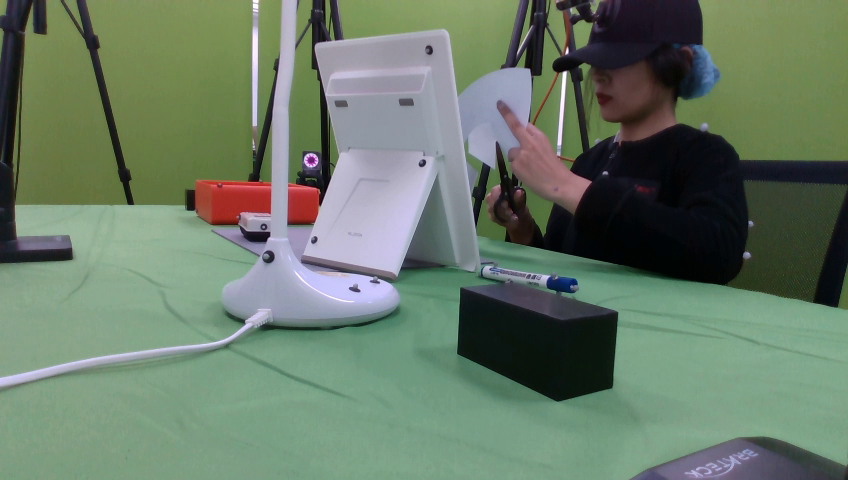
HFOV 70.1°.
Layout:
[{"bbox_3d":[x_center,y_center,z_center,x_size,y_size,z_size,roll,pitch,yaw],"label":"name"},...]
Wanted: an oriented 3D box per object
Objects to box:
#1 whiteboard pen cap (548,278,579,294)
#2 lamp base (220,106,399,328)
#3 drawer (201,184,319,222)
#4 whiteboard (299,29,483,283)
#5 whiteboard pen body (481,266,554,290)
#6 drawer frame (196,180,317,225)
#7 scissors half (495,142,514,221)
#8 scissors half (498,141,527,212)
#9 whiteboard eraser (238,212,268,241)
[{"bbox_3d":[0.148,0.049,0.647,0.018,0.018,0.033,-3,3,-35],"label":"whiteboard pen cap"},{"bbox_3d":[-0.101,-0.023,0.531,0.160,0.180,0.179,4,10,10],"label":"lamp base"},{"bbox_3d":[-0.353,-0.082,1.296,0.213,0.073,0.193,-2,10,-28],"label":"drawer"},{"bbox_3d":[-0.074,-0.082,0.742,0.216,0.305,0.144,9,29,38],"label":"whiteboard"},{"bbox_3d":[0.115,0.044,0.695,0.017,0.017,0.140,-3,5,-35],"label":"whiteboard pen body"},{"bbox_3d":[-0.359,-0.083,1.292,0.215,0.082,0.200,-2,10,-30],"label":"drawer frame"},{"bbox_3d":[0.140,-0.102,1.081,0.040,0.175,0.013,-32,45,-23],"label":"scissors half"},{"bbox_3d":[0.156,-0.113,1.086,0.040,0.176,0.012,-40,47,-8],"label":"scissors half"},{"bbox_3d":[-0.272,-0.024,0.998,0.056,0.042,0.112,-2,9,-24],"label":"whiteboard eraser"}]
